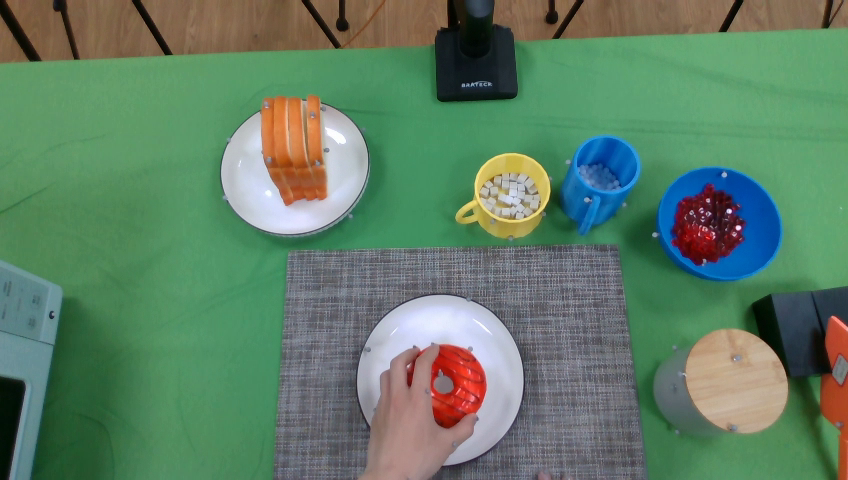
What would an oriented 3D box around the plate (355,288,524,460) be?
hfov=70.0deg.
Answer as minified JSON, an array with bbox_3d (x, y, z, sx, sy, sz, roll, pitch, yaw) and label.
[{"bbox_3d":[0.020,0.164,0.753,0.209,0.038,0.208,0,72,2],"label":"plate"}]

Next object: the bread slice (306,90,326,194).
[{"bbox_3d":[-0.143,-0.132,0.802,0.019,0.132,0.104,-4,73,-7],"label":"bread slice"}]

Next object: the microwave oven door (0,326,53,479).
[{"bbox_3d":[-0.496,0.258,0.617,0.039,0.245,0.353,-2,72,2],"label":"microwave oven door"}]

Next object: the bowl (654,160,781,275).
[{"bbox_3d":[0.365,-0.019,0.783,0.151,0.077,0.150,-1,72,2],"label":"bowl"}]

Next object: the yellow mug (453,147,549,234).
[{"bbox_3d":[0.100,-0.060,0.812,0.131,0.064,0.099,-23,72,-4],"label":"yellow mug"}]

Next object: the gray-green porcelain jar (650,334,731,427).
[{"bbox_3d":[0.328,0.162,0.701,0.106,0.127,0.105,0,72,2],"label":"gray-green porcelain jar"}]

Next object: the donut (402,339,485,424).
[{"bbox_3d":[0.023,0.165,0.709,0.099,0.048,0.098,-2,68,5],"label":"donut"}]

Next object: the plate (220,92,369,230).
[{"bbox_3d":[-0.179,-0.108,0.853,0.207,0.039,0.206,0,72,2],"label":"plate"}]

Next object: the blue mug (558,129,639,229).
[{"bbox_3d":[0.221,-0.069,0.791,0.082,0.106,0.116,17,73,8],"label":"blue mug"}]

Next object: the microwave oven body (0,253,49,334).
[{"bbox_3d":[-0.642,0.223,0.639,0.326,0.261,0.439,-1,72,1],"label":"microwave oven body"}]

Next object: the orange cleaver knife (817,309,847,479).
[{"bbox_3d":[0.486,0.188,0.710,0.012,0.077,0.212,-5,102,1],"label":"orange cleaver knife"}]

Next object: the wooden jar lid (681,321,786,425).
[{"bbox_3d":[0.325,0.141,0.642,0.108,0.021,0.107,0,73,0],"label":"wooden jar lid"}]

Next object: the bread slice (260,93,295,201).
[{"bbox_3d":[-0.192,-0.130,0.802,0.018,0.135,0.106,-4,68,-1],"label":"bread slice"}]

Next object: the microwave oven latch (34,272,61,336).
[{"bbox_3d":[-0.493,0.082,0.781,0.030,0.029,0.078,2,73,2],"label":"microwave oven latch"}]
